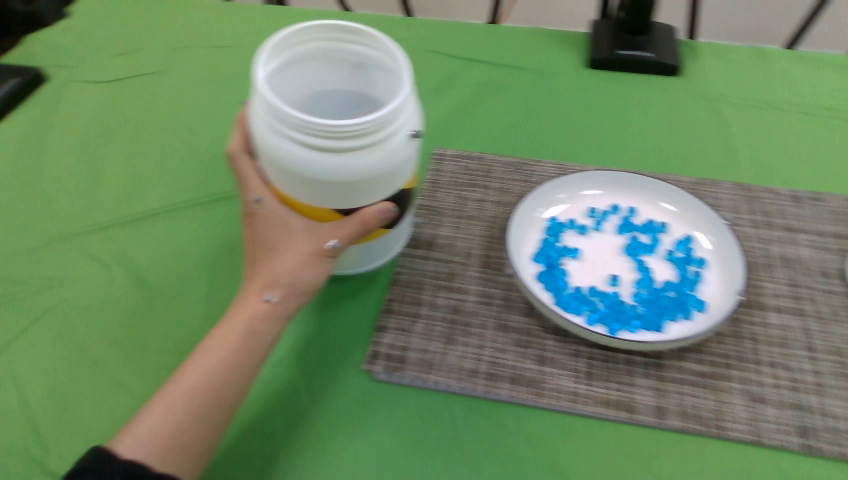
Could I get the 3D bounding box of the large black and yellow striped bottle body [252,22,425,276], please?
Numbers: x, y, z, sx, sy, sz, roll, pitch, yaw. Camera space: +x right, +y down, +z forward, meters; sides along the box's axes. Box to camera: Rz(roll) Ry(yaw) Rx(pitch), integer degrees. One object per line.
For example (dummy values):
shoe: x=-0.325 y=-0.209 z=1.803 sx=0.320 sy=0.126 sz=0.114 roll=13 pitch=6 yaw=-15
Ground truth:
large black and yellow striped bottle body: x=-0.068 y=-0.068 z=0.499 sx=0.131 sy=0.185 sz=0.129 roll=3 pitch=56 yaw=-5

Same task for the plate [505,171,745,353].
plate: x=0.177 y=0.018 z=0.552 sx=0.208 sy=0.039 sz=0.205 roll=-1 pitch=47 yaw=1

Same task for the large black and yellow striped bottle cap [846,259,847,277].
large black and yellow striped bottle cap: x=0.442 y=0.039 z=0.539 sx=0.115 sy=0.019 sz=0.114 roll=2 pitch=49 yaw=-1
